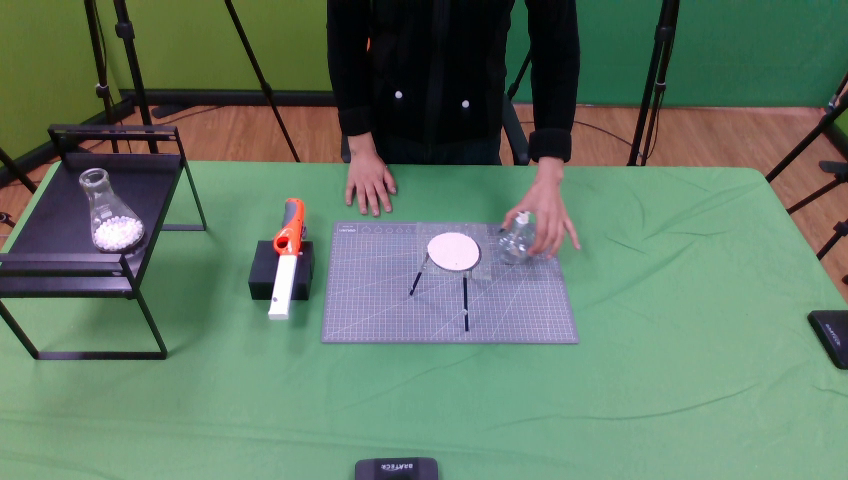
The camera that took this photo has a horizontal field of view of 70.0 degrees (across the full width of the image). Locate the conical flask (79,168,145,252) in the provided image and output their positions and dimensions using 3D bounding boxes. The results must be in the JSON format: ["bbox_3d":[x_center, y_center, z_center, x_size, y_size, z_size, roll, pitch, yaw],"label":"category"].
[{"bbox_3d":[-0.463,-0.048,0.888,0.075,0.122,0.075,2,46,-2],"label":"conical flask"}]

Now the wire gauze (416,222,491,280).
[{"bbox_3d":[0.048,0.014,1.013,0.125,0.011,0.120,3,47,-3],"label":"wire gauze"}]

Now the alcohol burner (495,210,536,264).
[{"bbox_3d":[0.177,-0.011,1.149,0.078,0.119,0.077,3,46,-3],"label":"alcohol burner"}]

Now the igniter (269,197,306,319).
[{"bbox_3d":[-0.246,0.023,1.087,0.057,0.025,0.274,-1,49,-2],"label":"igniter"}]

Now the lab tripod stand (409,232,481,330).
[{"bbox_3d":[0.051,0.064,1.059,0.148,0.132,0.147,3,46,-3],"label":"lab tripod stand"}]

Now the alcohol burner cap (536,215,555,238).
[{"bbox_3d":[0.249,-0.029,1.228,0.034,0.048,0.033,3,50,-3],"label":"alcohol burner cap"}]
